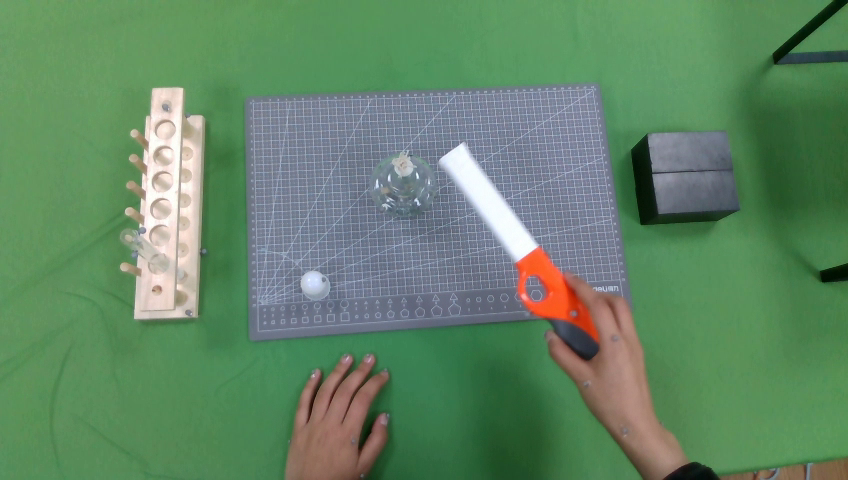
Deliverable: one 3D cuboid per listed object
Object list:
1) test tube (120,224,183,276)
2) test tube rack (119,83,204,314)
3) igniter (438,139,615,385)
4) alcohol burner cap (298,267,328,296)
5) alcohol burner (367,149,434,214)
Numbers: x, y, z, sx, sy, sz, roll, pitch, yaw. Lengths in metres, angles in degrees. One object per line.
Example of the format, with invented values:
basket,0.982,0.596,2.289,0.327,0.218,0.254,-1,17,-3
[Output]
test tube,-0.271,0.013,0.611,0.017,0.151,0.017,2,73,-5
test tube rack,-0.293,-0.043,0.672,0.067,0.085,0.241,-1,78,-4
igniter,0.104,0.022,0.599,0.057,0.025,0.276,-35,90,-5
alcohol burner cap,-0.127,0.045,0.685,0.034,0.048,0.033,1,78,-5
alcohol burner,-0.026,-0.071,0.681,0.078,0.119,0.077,1,79,-4
